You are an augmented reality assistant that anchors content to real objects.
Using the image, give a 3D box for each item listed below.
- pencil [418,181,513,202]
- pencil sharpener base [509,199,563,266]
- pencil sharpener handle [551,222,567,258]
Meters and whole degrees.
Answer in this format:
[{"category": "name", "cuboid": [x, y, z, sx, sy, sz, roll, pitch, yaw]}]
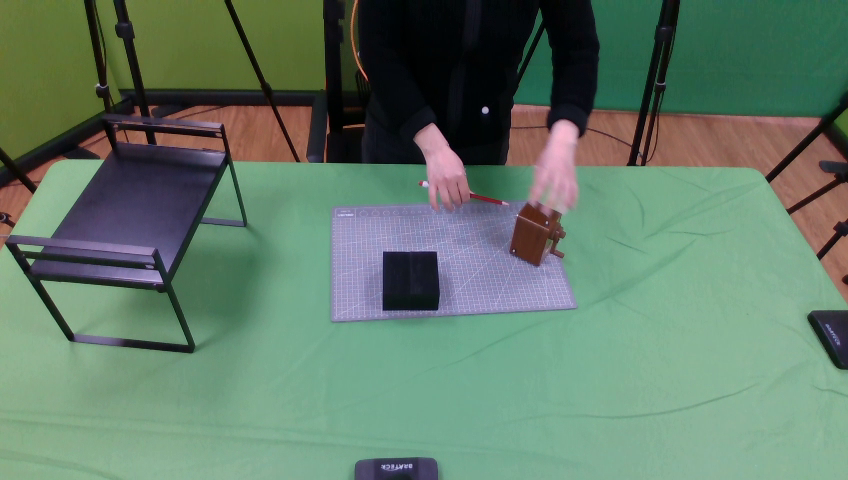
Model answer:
[{"category": "pencil", "cuboid": [0.080, -0.095, 1.195, 0.194, 0.012, 0.012, 12, 46, 14]}, {"category": "pencil sharpener base", "cuboid": [0.216, -0.012, 1.160, 0.076, 0.107, 0.061, 27, 50, 20]}, {"category": "pencil sharpener handle", "cuboid": [0.258, 0.002, 1.132, 0.030, 0.068, 0.036, 27, 43, 21]}]
